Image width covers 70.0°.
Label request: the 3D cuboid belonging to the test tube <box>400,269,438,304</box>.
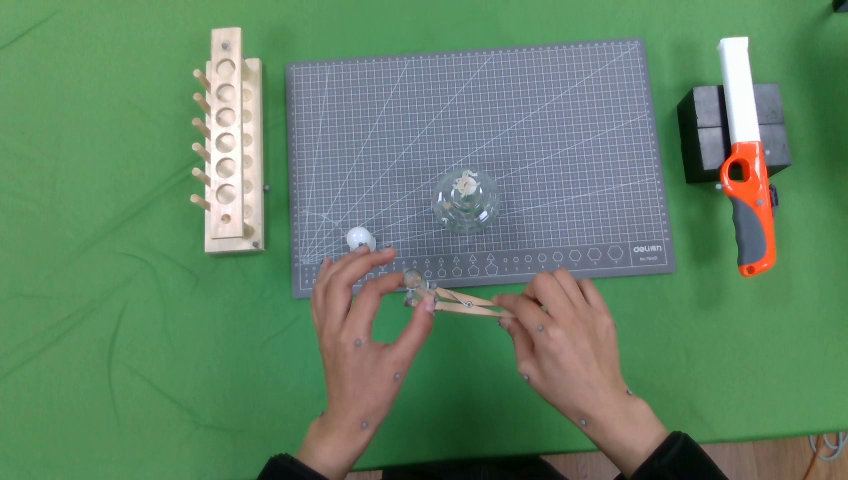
[{"bbox_3d":[-0.002,0.043,0.516,0.017,0.151,0.017,-1,78,6],"label":"test tube"}]

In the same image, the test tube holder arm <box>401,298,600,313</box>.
[{"bbox_3d":[0.068,0.059,0.550,0.178,0.015,0.013,2,71,4],"label":"test tube holder arm"}]

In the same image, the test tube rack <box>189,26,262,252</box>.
[{"bbox_3d":[-0.233,-0.114,0.703,0.067,0.085,0.241,-3,79,1],"label":"test tube rack"}]

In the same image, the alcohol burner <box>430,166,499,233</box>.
[{"bbox_3d":[0.045,-0.049,0.670,0.078,0.119,0.077,0,80,2],"label":"alcohol burner"}]

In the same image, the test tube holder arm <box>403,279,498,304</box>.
[{"bbox_3d":[0.024,0.050,0.556,0.087,0.015,0.010,11,71,7],"label":"test tube holder arm"}]

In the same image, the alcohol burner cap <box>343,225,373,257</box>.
[{"bbox_3d":[-0.077,-0.002,0.699,0.034,0.048,0.033,0,78,1],"label":"alcohol burner cap"}]

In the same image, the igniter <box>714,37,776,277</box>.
[{"bbox_3d":[0.354,-0.095,0.674,0.057,0.025,0.275,-2,79,7],"label":"igniter"}]
